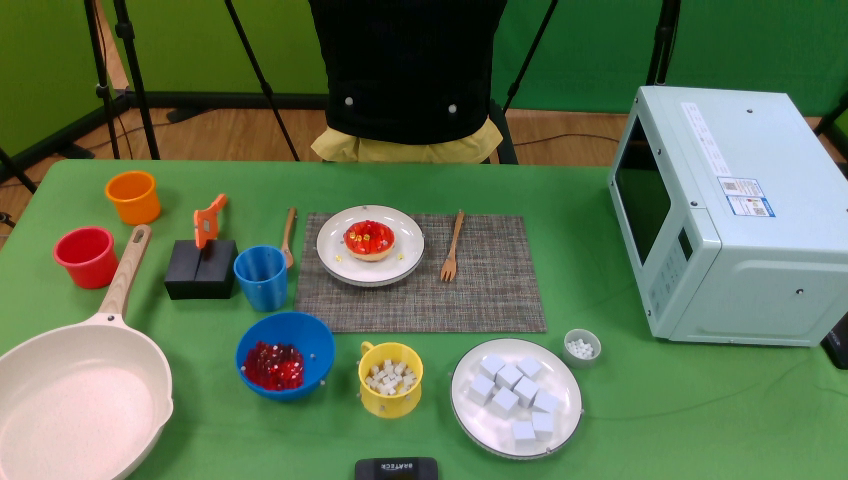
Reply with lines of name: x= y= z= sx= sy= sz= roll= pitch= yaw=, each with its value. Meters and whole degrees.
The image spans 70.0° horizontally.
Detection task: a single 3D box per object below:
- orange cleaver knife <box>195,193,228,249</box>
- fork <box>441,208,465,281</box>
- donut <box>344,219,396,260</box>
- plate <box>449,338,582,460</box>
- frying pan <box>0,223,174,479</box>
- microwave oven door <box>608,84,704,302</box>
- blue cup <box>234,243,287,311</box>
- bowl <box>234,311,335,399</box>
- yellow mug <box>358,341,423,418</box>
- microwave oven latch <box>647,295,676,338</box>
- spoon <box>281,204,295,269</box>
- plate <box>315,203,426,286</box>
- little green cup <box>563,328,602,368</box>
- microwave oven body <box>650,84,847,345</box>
orange cleaver knife: x=-0.406 y=-0.041 z=1.163 sx=0.012 sy=0.077 sz=0.210 roll=-1 pitch=18 yaw=-3
fork: x=0.061 y=0.005 z=1.190 sx=0.028 sy=0.019 sz=0.206 roll=3 pitch=47 yaw=13
donut: x=-0.103 y=-0.002 z=1.158 sx=0.099 sy=0.048 sz=0.098 roll=2 pitch=43 yaw=-2
plate: x=0.141 y=0.251 z=0.955 sx=0.208 sy=0.039 sz=0.206 roll=2 pitch=46 yaw=-2
frying pan: x=-0.505 y=0.169 z=0.941 sx=0.307 sy=0.103 sz=0.485 roll=5 pitch=54 yaw=-1
microwave oven door: x=0.424 y=-0.096 z=1.138 sx=0.039 sy=0.245 sz=0.353 roll=2 pitch=47 yaw=-1
blue cup: x=-0.276 y=0.072 z=1.052 sx=0.093 sy=0.101 sz=0.092 roll=1 pitch=48 yaw=-1
bowl: x=-0.214 y=0.194 z=0.956 sx=0.151 sy=0.077 sz=0.150 roll=2 pitch=46 yaw=-2
yellow mug: x=-0.063 y=0.210 z=0.961 sx=0.100 sy=0.064 sz=0.130 roll=-29 pitch=54 yaw=-28
microwave oven latch: x=0.413 y=0.133 z=1.060 sx=0.030 sy=0.029 sz=0.078 roll=4 pitch=46 yaw=1
spoon: x=-0.266 y=-0.008 z=1.182 sx=0.041 sy=0.022 sz=0.192 roll=-13 pitch=46 yaw=11
plate: x=-0.101 y=0.012 z=1.159 sx=0.209 sy=0.038 sz=0.208 roll=2 pitch=46 yaw=-2
little green cup: x=0.266 y=0.185 z=1.025 sx=0.061 sy=0.039 sz=0.061 roll=1 pitch=45 yaw=-1
microwave oven body: x=0.569 y=-0.054 z=1.116 sx=0.326 sy=0.261 sz=0.439 roll=2 pitch=46 yaw=-1
